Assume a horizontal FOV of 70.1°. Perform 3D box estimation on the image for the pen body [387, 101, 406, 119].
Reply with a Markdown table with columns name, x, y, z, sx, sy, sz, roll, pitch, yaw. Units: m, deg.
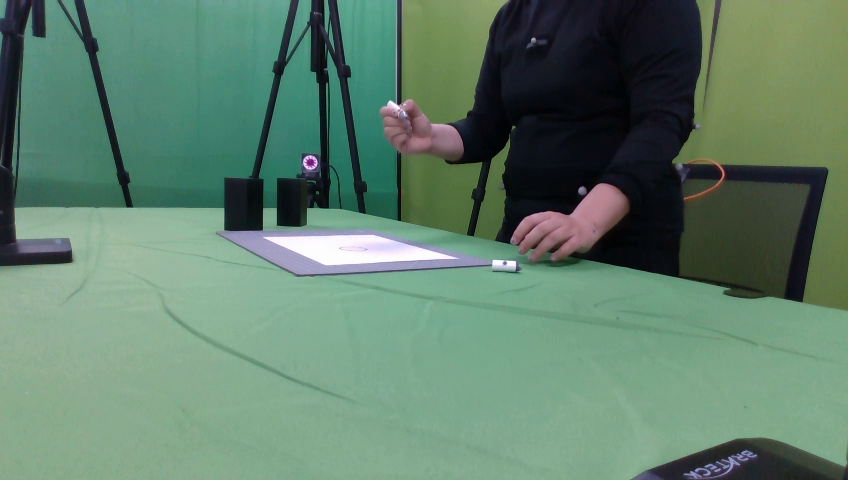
| name | x | y | z | sx | sy | sz | roll | pitch | yaw |
| --- | --- | --- | --- | --- | --- | --- | --- | --- | --- |
| pen body | -0.048 | -0.236 | 1.103 | 0.017 | 0.017 | 0.143 | 1 | 20 | -14 |

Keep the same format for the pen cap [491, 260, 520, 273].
| name | x | y | z | sx | sy | sz | roll | pitch | yaw |
| --- | --- | --- | --- | --- | --- | --- | --- | --- | --- |
| pen cap | 0.110 | 0.036 | 0.813 | 0.038 | 0.017 | 0.017 | 3 | 7 | 8 |
